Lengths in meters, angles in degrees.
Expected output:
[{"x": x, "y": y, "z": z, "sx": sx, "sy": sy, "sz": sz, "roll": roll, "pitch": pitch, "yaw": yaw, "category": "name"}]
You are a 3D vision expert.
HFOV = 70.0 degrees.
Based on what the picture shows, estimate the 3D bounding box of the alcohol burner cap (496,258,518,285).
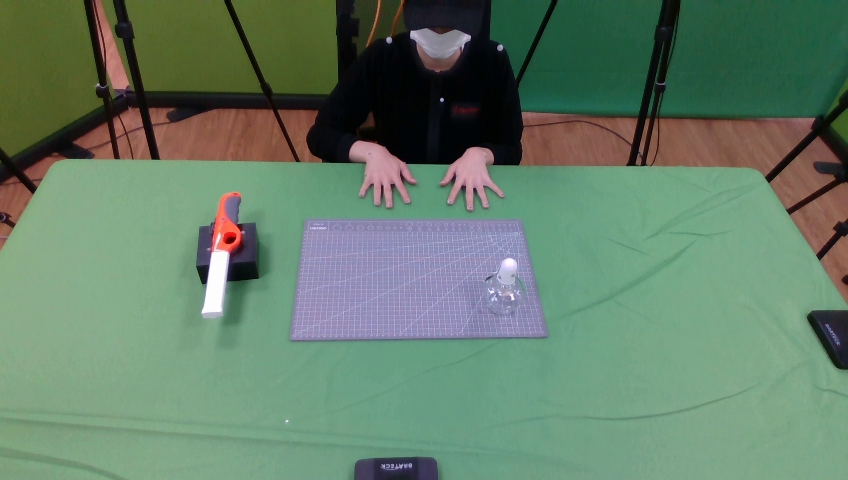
[{"x": 0.144, "y": 0.051, "z": 1.041, "sx": 0.034, "sy": 0.048, "sz": 0.033, "roll": 3, "pitch": 45, "yaw": -3, "category": "alcohol burner cap"}]

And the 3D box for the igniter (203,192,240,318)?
[{"x": -0.361, "y": 0.017, "z": 1.085, "sx": 0.057, "sy": 0.025, "sz": 0.274, "roll": -3, "pitch": 51, "yaw": -6, "category": "igniter"}]

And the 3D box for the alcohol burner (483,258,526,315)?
[{"x": 0.143, "y": 0.076, "z": 1.067, "sx": 0.078, "sy": 0.120, "sz": 0.077, "roll": 1, "pitch": 45, "yaw": -1, "category": "alcohol burner"}]
